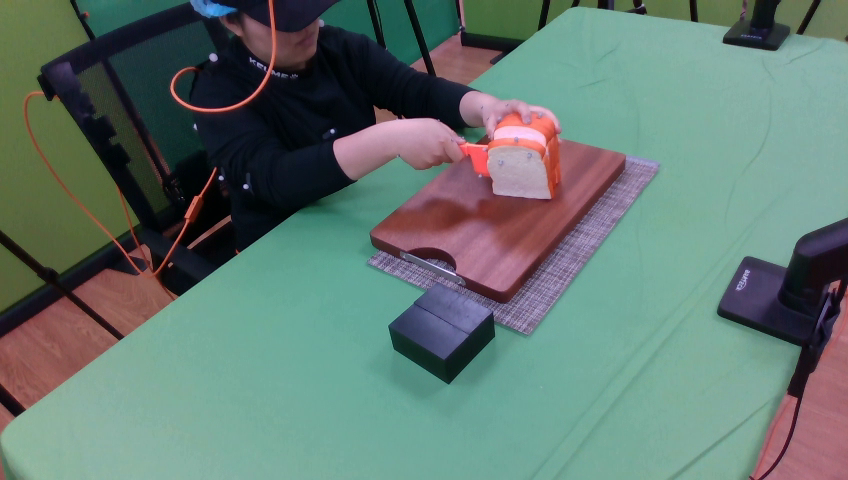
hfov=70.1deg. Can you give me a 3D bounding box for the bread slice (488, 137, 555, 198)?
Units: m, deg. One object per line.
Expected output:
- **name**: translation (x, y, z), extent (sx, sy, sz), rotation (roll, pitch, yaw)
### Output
- **bread slice**: translation (0.151, -0.114, 0.968), extent (0.104, 0.132, 0.019), rotation (6, 58, 22)

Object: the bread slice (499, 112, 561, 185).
- **bread slice**: translation (0.176, -0.151, 1.006), extent (0.106, 0.135, 0.018), rotation (13, 48, 21)

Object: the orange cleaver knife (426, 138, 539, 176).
- **orange cleaver knife**: translation (0.105, -0.136, 0.993), extent (0.210, 0.077, 0.012), rotation (8, 46, 23)
